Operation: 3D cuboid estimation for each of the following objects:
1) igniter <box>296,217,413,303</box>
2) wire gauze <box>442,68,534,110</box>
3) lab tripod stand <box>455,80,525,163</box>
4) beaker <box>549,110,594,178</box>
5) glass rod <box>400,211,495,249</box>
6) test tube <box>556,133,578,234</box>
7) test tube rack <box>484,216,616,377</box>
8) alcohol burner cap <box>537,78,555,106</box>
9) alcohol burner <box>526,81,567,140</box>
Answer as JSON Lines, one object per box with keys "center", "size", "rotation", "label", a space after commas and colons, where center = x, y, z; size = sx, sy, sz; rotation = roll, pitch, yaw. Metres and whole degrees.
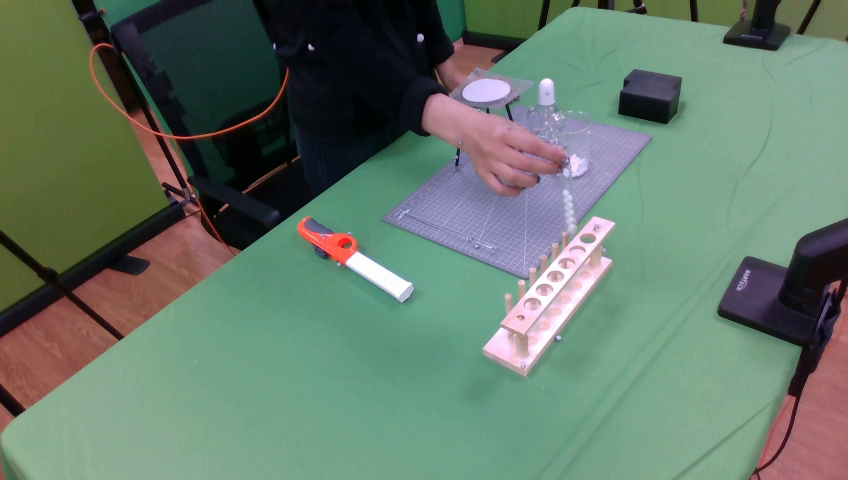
{"center": [-0.121, 0.025, 0.970], "size": [0.274, 0.025, 0.057], "rotation": [29, 63, 37], "label": "igniter"}
{"center": [0.114, -0.269, 1.081], "size": [0.120, 0.011, 0.125], "rotation": [21, 48, 29], "label": "wire gauze"}
{"center": [0.121, -0.219, 1.126], "size": [0.148, 0.132, 0.147], "rotation": [-4, 40, 4], "label": "lab tripod stand"}
{"center": [0.256, -0.165, 1.063], "size": [0.084, 0.101, 0.073], "rotation": [-36, 46, -27], "label": "beaker"}
{"center": [0.035, -0.018, 1.001], "size": [0.198, 0.008, 0.008], "rotation": [21, 49, 35], "label": "glass rod"}
{"center": [0.181, -0.067, 0.759], "size": [0.017, 0.151, 0.017], "rotation": [-10, 38, 8], "label": "test tube"}
{"center": [0.174, 0.065, 0.823], "size": [0.066, 0.085, 0.243], "rotation": [23, 49, 33], "label": "test tube rack"}
{"center": [0.229, -0.279, 1.136], "size": [0.034, 0.048, 0.033], "rotation": [-5, 33, 4], "label": "alcohol burner cap"}
{"center": [0.235, -0.252, 1.159], "size": [0.078, 0.119, 0.077], "rotation": [-4, 42, 4], "label": "alcohol burner"}
